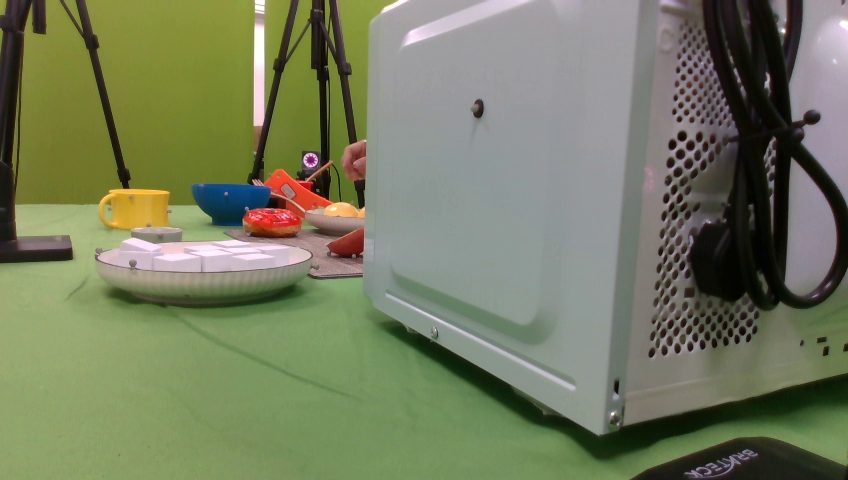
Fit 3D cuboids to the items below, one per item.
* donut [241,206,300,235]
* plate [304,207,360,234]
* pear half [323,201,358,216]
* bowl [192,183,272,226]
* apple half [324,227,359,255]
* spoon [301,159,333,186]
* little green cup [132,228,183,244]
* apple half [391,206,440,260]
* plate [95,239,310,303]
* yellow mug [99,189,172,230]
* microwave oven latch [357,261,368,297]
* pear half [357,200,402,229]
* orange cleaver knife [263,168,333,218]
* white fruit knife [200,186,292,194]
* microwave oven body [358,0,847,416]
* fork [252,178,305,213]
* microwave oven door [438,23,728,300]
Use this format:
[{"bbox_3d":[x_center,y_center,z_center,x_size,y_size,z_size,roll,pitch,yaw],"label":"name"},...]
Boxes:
[{"bbox_3d":[-0.263,-0.032,1.039,0.099,0.048,0.099,4,10,0],"label":"donut"},{"bbox_3d":[-0.123,-0.037,1.149,0.209,0.038,0.209,2,7,0],"label":"plate"},{"bbox_3d":[-0.155,-0.059,1.198,0.088,0.031,0.070,12,31,-1],"label":"pear half"},{"bbox_3d":[-0.381,-0.071,1.202,0.151,0.077,0.151,3,7,0],"label":"bowl"},{"bbox_3d":[-0.095,0.002,0.848,0.081,0.033,0.081,-21,0,0],"label":"apple half"},{"bbox_3d":[-0.316,-0.159,1.639,0.194,0.022,0.041,-49,32,-20],"label":"spoon"},{"bbox_3d":[-0.342,0.006,0.779,0.061,0.038,0.061,2,8,0],"label":"little green cup"},{"bbox_3d":[-0.006,-0.009,0.837,0.053,0.074,0.081,10,6,23],"label":"apple half"},{"bbox_3d":[-0.224,0.031,0.629,0.208,0.039,0.207,2,7,0],"label":"plate"},{"bbox_3d":[-0.518,-0.055,1.080,0.099,0.064,0.131,6,9,26],"label":"yellow mug"},{"bbox_3d":[-0.019,0.033,0.531,0.079,0.029,0.030,-1,7,-27],"label":"microwave oven latch"},{"bbox_3d":[-0.074,-0.047,1.132,0.076,0.056,0.110,12,7,31],"label":"pear half"},{"bbox_3d":[-0.262,-0.088,1.352,0.211,0.077,0.012,28,13,-1],"label":"orange cleaver knife"},{"bbox_3d":[-0.399,-0.111,1.368,0.208,0.016,0.027,-4,-19,-30],"label":"white fruit knife"},{"bbox_3d":[0.211,-0.047,0.474,0.444,0.260,0.324,-1,7,-28],"label":"microwave oven body"},{"bbox_3d":[-0.295,-0.084,1.292,0.206,0.018,0.028,29,10,25],"label":"fork"},{"bbox_3d":[0.181,-0.072,0.621,0.358,0.243,0.039,-2,8,-29],"label":"microwave oven door"}]
